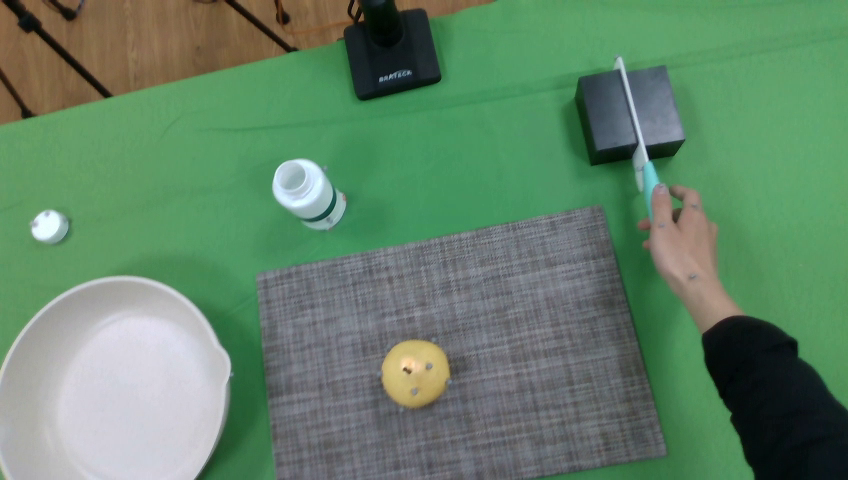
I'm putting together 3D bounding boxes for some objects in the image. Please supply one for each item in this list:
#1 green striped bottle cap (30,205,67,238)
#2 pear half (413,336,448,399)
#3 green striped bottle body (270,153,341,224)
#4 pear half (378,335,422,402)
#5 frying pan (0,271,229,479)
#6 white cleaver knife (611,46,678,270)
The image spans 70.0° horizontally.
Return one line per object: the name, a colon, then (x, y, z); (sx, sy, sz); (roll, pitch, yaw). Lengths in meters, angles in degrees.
green striped bottle cap: (-0.514, -0.025, 0.830); (0.044, 0.020, 0.044); (-2, 76, 8)
pear half: (0.010, 0.143, 0.686); (0.031, 0.088, 0.070); (-7, 71, 7)
green striped bottle body: (-0.146, -0.065, 0.743); (0.063, 0.120, 0.063); (-2, 76, 7)
pear half: (-0.027, 0.143, 0.680); (0.056, 0.110, 0.076); (-7, 71, 6)
frying pan: (-0.345, 0.277, 0.693); (0.307, 0.103, 0.483); (-16, 67, 4)
white cleaver knife: (0.261, -0.102, 0.729); (0.021, 0.066, 0.284); (-10, 73, 12)
